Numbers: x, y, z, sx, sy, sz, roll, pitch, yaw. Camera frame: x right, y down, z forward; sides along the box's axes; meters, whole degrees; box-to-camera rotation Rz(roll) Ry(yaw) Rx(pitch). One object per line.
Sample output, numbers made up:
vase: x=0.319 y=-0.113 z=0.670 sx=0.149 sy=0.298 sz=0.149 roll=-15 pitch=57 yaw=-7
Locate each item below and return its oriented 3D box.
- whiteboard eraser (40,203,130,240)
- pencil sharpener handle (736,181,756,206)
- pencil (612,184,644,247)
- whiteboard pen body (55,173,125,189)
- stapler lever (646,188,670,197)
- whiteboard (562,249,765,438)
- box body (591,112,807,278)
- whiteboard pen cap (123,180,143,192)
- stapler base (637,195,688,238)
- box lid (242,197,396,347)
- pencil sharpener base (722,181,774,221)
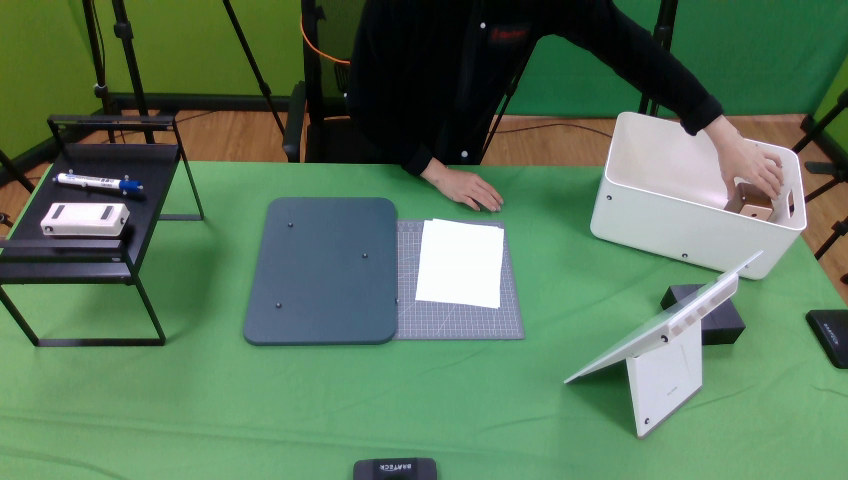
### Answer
whiteboard eraser: x=-0.513 y=-0.028 z=0.922 sx=0.113 sy=0.042 sz=0.055 roll=1 pitch=48 yaw=-3
pencil sharpener handle: x=0.663 y=-0.102 z=1.259 sx=0.036 sy=0.068 sz=0.030 roll=0 pitch=45 yaw=12
pencil: x=0.430 y=-0.057 z=1.285 sx=0.012 sy=0.012 sz=0.192 roll=-2 pitch=46 yaw=-6
whiteboard pen body: x=-0.539 y=-0.095 z=0.998 sx=0.141 sy=0.017 sz=0.017 roll=6 pitch=46 yaw=6
stapler lever: x=0.509 y=-0.076 z=1.262 sx=0.027 sy=0.040 sz=0.117 roll=-12 pitch=44 yaw=-21
whiteboard: x=0.386 y=0.175 z=0.905 sx=0.217 sy=0.306 sz=0.143 roll=-26 pitch=72 yaw=-26
box body: x=0.540 y=-0.092 z=1.230 sx=0.363 sy=0.161 sz=0.253 roll=16 pitch=47 yaw=11
whiteboard pen cap: x=-0.479 y=-0.089 z=0.993 sx=0.033 sy=0.018 sz=0.018 roll=7 pitch=46 yaw=14
stapler base: x=0.507 y=-0.056 z=1.279 sx=0.041 sy=0.024 sz=0.129 roll=-12 pitch=46 yaw=-21
box lid: x=-0.186 y=0.046 z=1.147 sx=0.263 sy=0.015 sz=0.369 roll=0 pitch=46 yaw=-3
pencil sharpener base: x=0.652 y=-0.058 z=1.233 sx=0.061 sy=0.107 sz=0.076 roll=7 pitch=46 yaw=5
